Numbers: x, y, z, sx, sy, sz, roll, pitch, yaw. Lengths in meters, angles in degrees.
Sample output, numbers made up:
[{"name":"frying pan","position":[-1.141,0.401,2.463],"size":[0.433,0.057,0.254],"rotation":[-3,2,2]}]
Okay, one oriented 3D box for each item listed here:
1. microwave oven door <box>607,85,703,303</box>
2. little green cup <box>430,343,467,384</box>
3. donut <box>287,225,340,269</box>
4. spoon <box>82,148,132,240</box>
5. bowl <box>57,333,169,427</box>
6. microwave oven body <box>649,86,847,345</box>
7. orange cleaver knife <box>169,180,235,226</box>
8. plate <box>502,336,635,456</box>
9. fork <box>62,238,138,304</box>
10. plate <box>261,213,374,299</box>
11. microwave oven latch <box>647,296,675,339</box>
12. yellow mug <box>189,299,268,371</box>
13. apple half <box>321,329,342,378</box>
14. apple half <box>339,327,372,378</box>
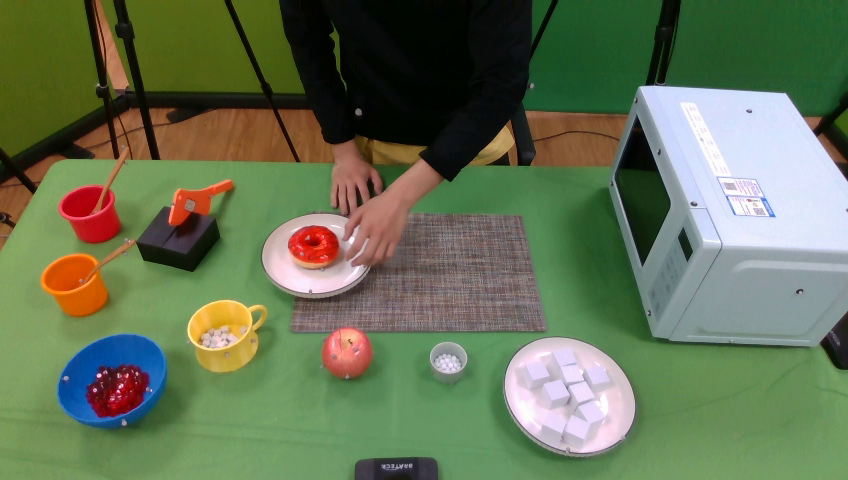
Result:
[{"name":"microwave oven door","position":[0.423,-0.094,1.140],"size":[0.039,0.245,0.353],"rotation":[2,46,-1]},{"name":"little green cup","position":[0.039,0.203,0.994],"size":[0.061,0.039,0.061],"rotation":[2,46,-2]},{"name":"donut","position":[-0.207,0.013,1.139],"size":[0.099,0.048,0.098],"rotation":[3,45,-3]},{"name":"spoon","position":[-0.602,-0.089,1.156],"size":[0.041,0.022,0.194],"rotation":[28,95,23]},{"name":"bowl","position":[-0.455,0.223,0.911],"size":[0.151,0.077,0.150],"rotation":[3,45,-2]},{"name":"microwave oven body","position":[0.568,-0.053,1.118],"size":[0.326,0.261,0.439],"rotation":[2,45,-1]},{"name":"orange cleaver knife","position":[-0.435,-0.076,1.199],"size":[0.012,0.077,0.211],"rotation":[17,17,9]},{"name":"plate","position":[0.225,0.248,0.963],"size":[0.208,0.039,0.206],"rotation":[2,46,-2]},{"name":"fork","position":[-0.546,0.053,1.018],"size":[0.207,0.019,0.028],"rotation":[-36,41,23]},{"name":"plate","position":[-0.198,0.032,1.137],"size":[0.209,0.038,0.208],"rotation":[2,46,-2]},{"name":"microwave oven latch","position":[0.413,0.134,1.061],"size":[0.030,0.029,0.078],"rotation":[5,45,2]},{"name":"yellow mug","position":[-0.316,0.148,1.002],"size":[0.131,0.064,0.099],"rotation":[-33,56,-31]},{"name":"apple half","position":[-0.149,0.186,0.972],"size":[0.033,0.081,0.080],"rotation":[-2,46,-12]},{"name":"apple half","position":[-0.111,0.183,0.980],"size":[0.053,0.075,0.080],"rotation":[-2,42,-12]}]
